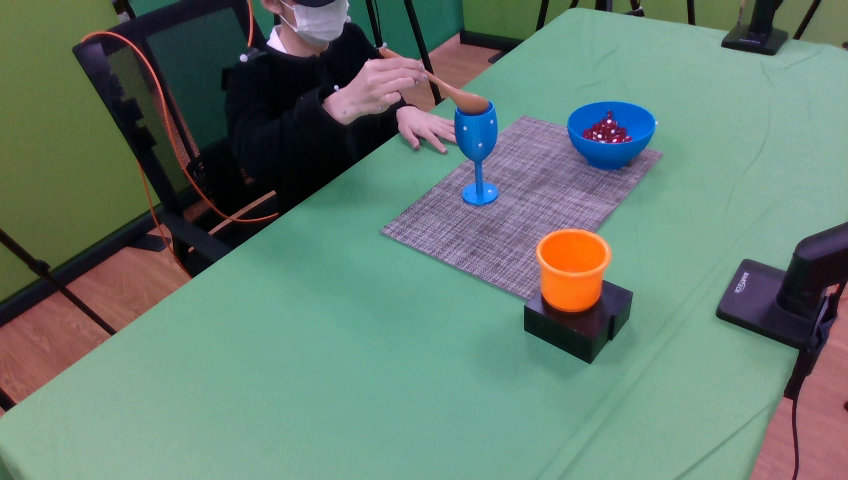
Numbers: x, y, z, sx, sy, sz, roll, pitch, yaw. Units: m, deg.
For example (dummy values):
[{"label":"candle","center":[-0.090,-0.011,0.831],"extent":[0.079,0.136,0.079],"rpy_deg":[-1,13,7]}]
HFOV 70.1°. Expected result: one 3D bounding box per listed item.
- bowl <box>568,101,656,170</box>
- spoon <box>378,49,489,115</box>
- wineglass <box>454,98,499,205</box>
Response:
[{"label":"bowl","center":[0.332,-0.179,1.084],"extent":[0.151,0.077,0.150],"rpy_deg":[-4,40,4]},{"label":"spoon","center":[0.016,-0.238,0.913],"extent":[0.195,0.041,0.021],"rpy_deg":[26,52,-21]},{"label":"wineglass","center":[0.090,-0.145,1.009],"extent":[0.074,0.173,0.073],"rpy_deg":[-5,40,4]}]
